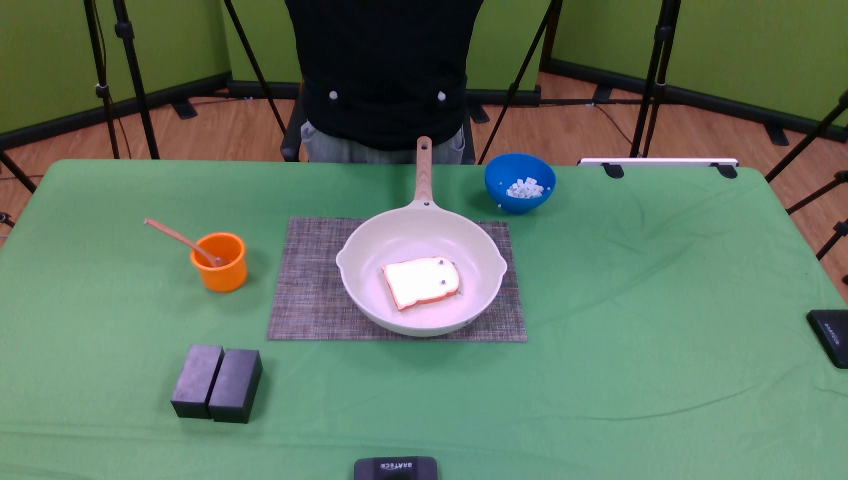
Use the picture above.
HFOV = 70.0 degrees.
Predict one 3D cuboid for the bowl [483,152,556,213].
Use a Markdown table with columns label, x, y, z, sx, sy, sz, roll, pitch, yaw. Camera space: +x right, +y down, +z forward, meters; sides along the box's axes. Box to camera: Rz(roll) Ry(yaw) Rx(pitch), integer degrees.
| label | x | y | z | sx | sy | sz | roll | pitch | yaw |
| --- | --- | --- | --- | --- | --- | --- | --- | --- | --- |
| bowl | 0.196 | -0.110 | 1.280 | 0.151 | 0.077 | 0.150 | 2 | 46 | -2 |

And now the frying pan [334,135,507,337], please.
| label | x | y | z | sx | sy | sz | roll | pitch | yaw |
| --- | --- | --- | --- | --- | --- | --- | --- | --- | --- |
| frying pan | -0.004 | -0.026 | 1.160 | 0.307 | 0.103 | 0.485 | 4 | 55 | -2 |

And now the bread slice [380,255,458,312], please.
| label | x | y | z | sx | sy | sz | roll | pitch | yaw |
| --- | --- | --- | --- | --- | --- | --- | --- | --- | --- |
| bread slice | -0.005 | 0.074 | 1.119 | 0.134 | 0.018 | 0.106 | -16 | 50 | -16 |

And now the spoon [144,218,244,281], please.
| label | x | y | z | sx | sy | sz | roll | pitch | yaw |
| --- | --- | --- | --- | --- | --- | --- | --- | --- | --- |
| spoon | -0.401 | 0.015 | 1.065 | 0.195 | 0.021 | 0.041 | 41 | 37 | -29 |
